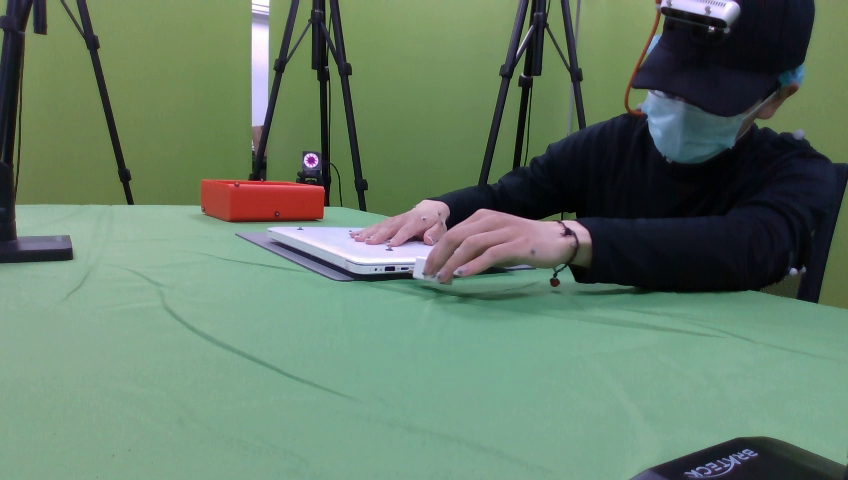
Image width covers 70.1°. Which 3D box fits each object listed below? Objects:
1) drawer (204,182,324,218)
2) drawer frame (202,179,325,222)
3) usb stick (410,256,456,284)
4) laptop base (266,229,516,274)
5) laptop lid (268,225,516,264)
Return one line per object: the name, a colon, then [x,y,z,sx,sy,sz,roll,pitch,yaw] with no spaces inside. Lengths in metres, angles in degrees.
drawer: [-0.360,-0.092,1.358,0.213,0.073,0.193,-3,10,-36]
drawer frame: [-0.361,-0.092,1.356,0.215,0.082,0.200,-4,10,-37]
usb stick: [0.007,0.032,0.670,0.021,0.027,0.059,3,1,-42]
laptop base: [-0.066,0.014,0.877,0.237,0.023,0.352,2,6,-32]
laptop lid: [-0.063,0.003,0.877,0.243,0.013,0.355,1,7,-30]
